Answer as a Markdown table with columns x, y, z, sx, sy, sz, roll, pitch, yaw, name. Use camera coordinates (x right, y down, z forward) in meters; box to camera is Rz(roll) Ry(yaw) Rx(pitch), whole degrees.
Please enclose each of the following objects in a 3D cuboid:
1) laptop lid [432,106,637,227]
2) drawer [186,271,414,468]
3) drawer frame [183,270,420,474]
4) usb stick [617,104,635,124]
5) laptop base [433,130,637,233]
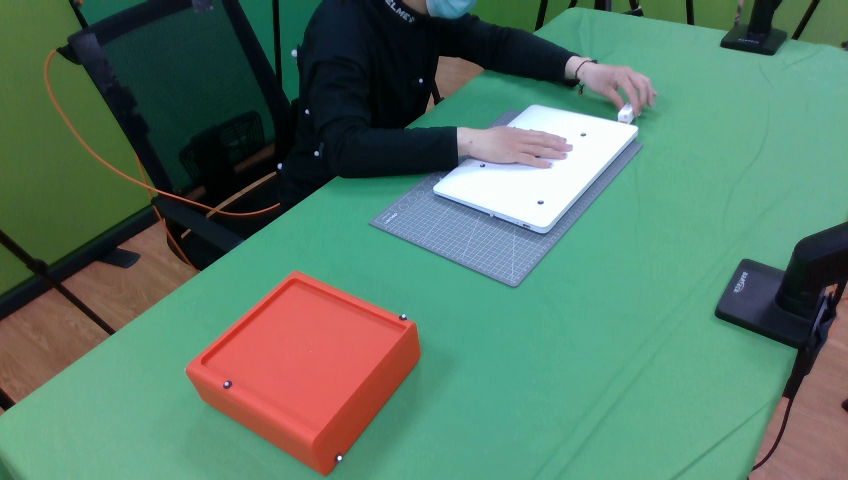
| x | y | z | sx | sy | sz | roll | pitch | yaw | name |
| --- | --- | --- | --- | --- | --- | --- | --- | --- | --- |
| 0.207 | -0.151 | 1.105 | 0.239 | 0.013 | 0.358 | 23 | 48 | 34 | laptop lid |
| -0.150 | 0.153 | 0.768 | 0.210 | 0.073 | 0.195 | 20 | 46 | 28 | drawer |
| -0.149 | 0.153 | 0.767 | 0.212 | 0.083 | 0.202 | 20 | 46 | 27 | drawer frame |
| 0.391 | -0.240 | 1.178 | 0.021 | 0.027 | 0.059 | 13 | 49 | 33 | usb stick |
| 0.210 | -0.142 | 1.111 | 0.233 | 0.023 | 0.355 | 21 | 48 | 34 | laptop base |
